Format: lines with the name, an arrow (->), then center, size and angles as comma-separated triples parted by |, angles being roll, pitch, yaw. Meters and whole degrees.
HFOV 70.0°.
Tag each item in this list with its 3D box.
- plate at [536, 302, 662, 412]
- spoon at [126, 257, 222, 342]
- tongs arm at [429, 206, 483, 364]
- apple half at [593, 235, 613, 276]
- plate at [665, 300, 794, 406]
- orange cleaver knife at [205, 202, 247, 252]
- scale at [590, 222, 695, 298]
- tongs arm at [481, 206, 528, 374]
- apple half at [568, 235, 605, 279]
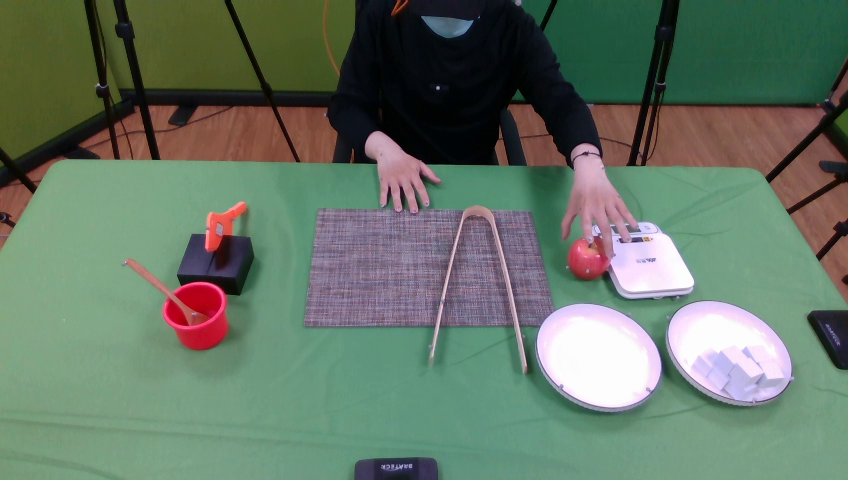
plate -> 0.288, 0.197, 1.016 | 0.209, 0.038, 0.208 | 2, 46, -2
spoon -> -0.408, 0.096, 0.990 | 0.194, 0.021, 0.041 | 50, 53, -18
tongs arm -> 0.064, 0.068, 1.123 | 0.051, 0.026, 0.382 | 8, 46, 6
apple half -> 0.340, 0.029, 1.155 | 0.033, 0.082, 0.080 | -9, 47, -8
plate -> 0.513, 0.194, 1.033 | 0.208, 0.039, 0.206 | 2, 46, -2
orange cleaver knife -> -0.374, -0.029, 1.149 | 0.012, 0.077, 0.211 | 4, 13, 0
scale -> 0.424, 0.031, 1.189 | 0.149, 0.032, 0.199 | -3, 46, -7
tongs arm -> 0.149, 0.076, 1.123 | 0.028, 0.028, 0.385 | -5, 46, -2
apple half -> 0.302, 0.035, 1.148 | 0.053, 0.075, 0.080 | -9, 51, -8
